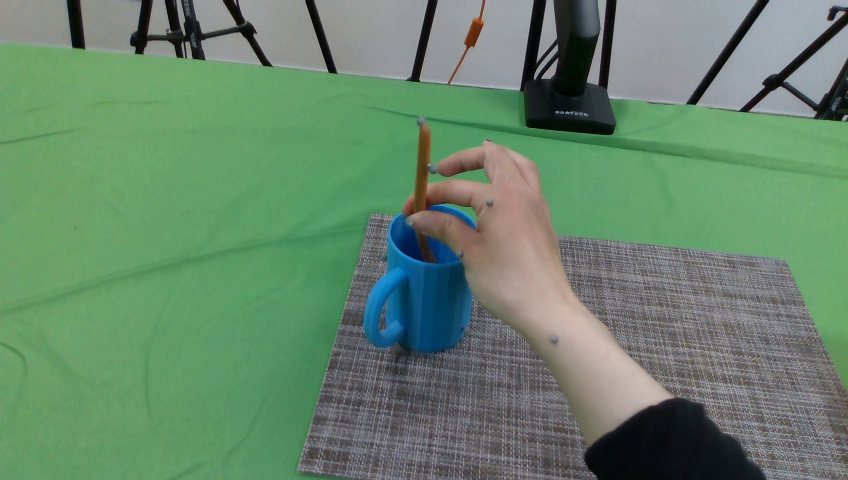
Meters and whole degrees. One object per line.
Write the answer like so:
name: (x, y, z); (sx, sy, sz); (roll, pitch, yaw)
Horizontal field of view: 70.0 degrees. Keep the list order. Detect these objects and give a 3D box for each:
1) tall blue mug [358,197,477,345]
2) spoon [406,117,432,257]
tall blue mug: (-0.003, 0.038, 0.511); (0.077, 0.109, 0.106); (13, 44, 8)
spoon: (-0.005, -0.013, 0.460); (0.021, 0.195, 0.041); (-5, 51, -1)
